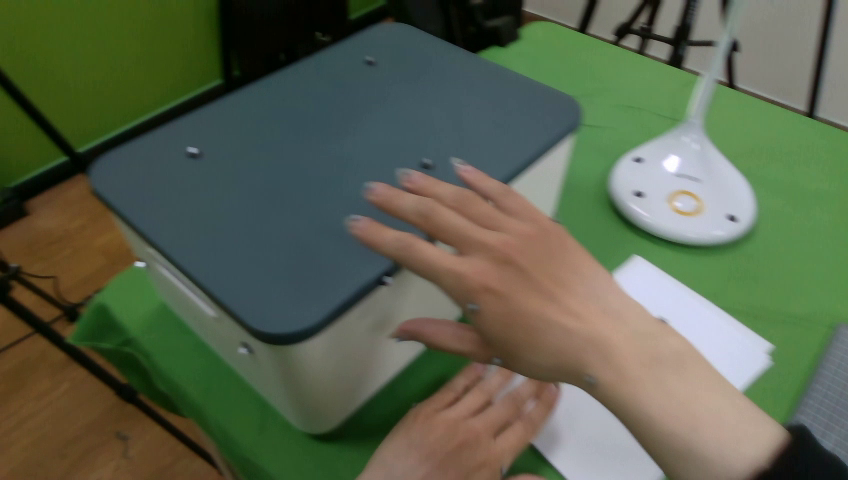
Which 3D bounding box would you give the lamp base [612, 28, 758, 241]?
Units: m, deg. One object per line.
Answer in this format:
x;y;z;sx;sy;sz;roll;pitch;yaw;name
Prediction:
0.299;-0.120;0.649;0.160;0.182;0.178;8;44;7;lamp base

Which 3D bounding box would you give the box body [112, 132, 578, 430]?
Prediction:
-0.058;-0.034;0.574;0.252;0.162;0.364;33;54;28;box body

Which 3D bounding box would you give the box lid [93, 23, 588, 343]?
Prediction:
-0.059;-0.085;0.520;0.261;0.015;0.371;33;54;28;box lid
